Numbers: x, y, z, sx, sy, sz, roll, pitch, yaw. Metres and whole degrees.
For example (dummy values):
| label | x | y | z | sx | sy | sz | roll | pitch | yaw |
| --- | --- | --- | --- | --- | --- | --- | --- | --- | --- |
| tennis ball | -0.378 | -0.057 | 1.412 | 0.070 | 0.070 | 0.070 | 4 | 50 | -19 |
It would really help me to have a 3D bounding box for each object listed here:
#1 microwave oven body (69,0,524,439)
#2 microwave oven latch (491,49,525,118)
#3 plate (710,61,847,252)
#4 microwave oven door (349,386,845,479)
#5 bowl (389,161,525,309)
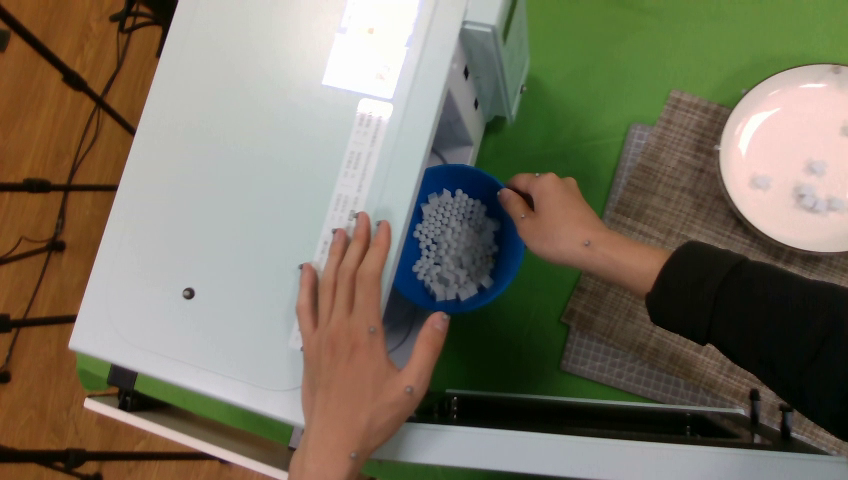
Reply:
| label | x | y | z | sx | sy | sz | roll | pitch | yaw |
| --- | --- | --- | --- | --- | --- | --- | --- | --- | --- |
| microwave oven body | -0.109 | -0.067 | 0.641 | 0.325 | 0.261 | 0.441 | 14 | 86 | 13 |
| microwave oven latch | 0.098 | -0.187 | 0.714 | 0.030 | 0.029 | 0.079 | 15 | 86 | 13 |
| plate | 0.417 | -0.087 | 0.650 | 0.209 | 0.038 | 0.208 | -2 | 81 | 11 |
| microwave oven door | 0.137 | 0.173 | 0.555 | 0.355 | 0.245 | 0.039 | 1 | 82 | 12 |
| bowl | 0.032 | 0.001 | 0.628 | 0.151 | 0.077 | 0.150 | -3 | 79 | 13 |
